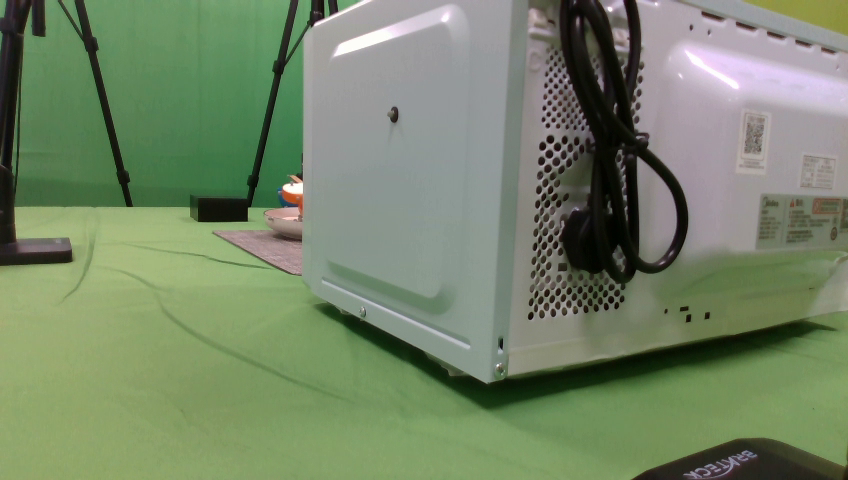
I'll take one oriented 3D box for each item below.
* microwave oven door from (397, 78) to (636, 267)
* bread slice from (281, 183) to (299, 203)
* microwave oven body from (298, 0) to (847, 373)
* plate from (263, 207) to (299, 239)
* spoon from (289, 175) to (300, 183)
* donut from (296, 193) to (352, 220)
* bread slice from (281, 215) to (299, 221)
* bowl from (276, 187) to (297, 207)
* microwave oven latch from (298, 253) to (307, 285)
[{"bbox_3d":[0.114,-0.103,0.872,0.354,0.243,0.039,7,9,34],"label":"microwave oven door"},{"bbox_3d":[-0.184,-0.085,1.067,0.132,0.019,0.104,-2,17,-18],"label":"bread slice"},{"bbox_3d":[0.151,-0.055,0.543,0.444,0.260,0.324,-1,7,-33],"label":"microwave oven body"},{"bbox_3d":[-0.180,-0.029,1.078,0.208,0.039,0.207,3,10,0],"label":"plate"},{"bbox_3d":[-0.261,-0.110,1.343,0.042,0.021,0.192,-8,33,-30],"label":"spoon"},{"bbox_3d":[-0.177,-0.061,1.078,0.099,0.048,0.099,2,3,0],"label":"donut"},{"bbox_3d":[-0.187,-0.029,1.075,0.135,0.018,0.106,-1,11,-23],"label":"bread slice"},{"bbox_3d":[-0.241,-0.073,1.302,0.151,0.077,0.151,2,7,0],"label":"bowl"},{"bbox_3d":[-0.082,0.027,0.583,0.079,0.029,0.030,-2,7,-33],"label":"microwave oven latch"}]
